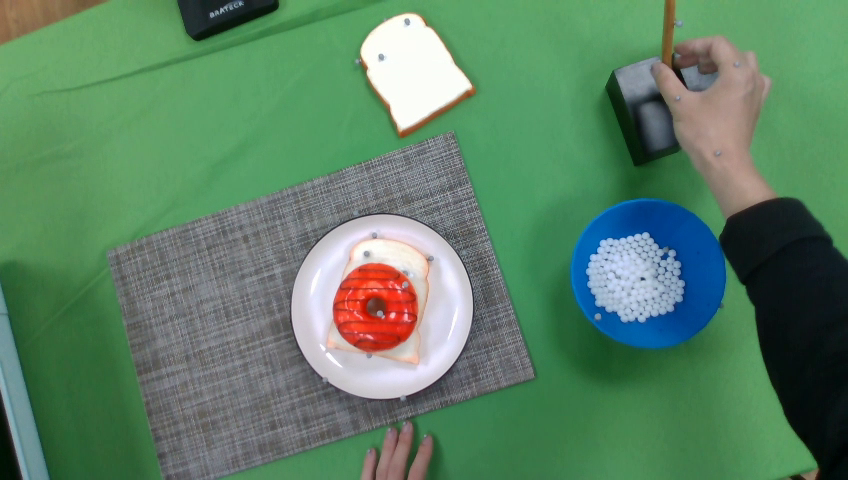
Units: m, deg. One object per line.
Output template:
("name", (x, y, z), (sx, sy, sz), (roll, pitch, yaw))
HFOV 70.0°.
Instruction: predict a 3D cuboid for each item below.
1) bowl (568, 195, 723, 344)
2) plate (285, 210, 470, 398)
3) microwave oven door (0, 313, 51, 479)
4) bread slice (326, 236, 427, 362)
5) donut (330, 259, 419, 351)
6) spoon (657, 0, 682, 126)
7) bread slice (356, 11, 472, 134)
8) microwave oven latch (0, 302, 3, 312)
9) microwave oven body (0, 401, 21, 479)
("bowl", (0.224, 0.033, 0.640), (0.151, 0.077, 0.151), (-1, 84, 6))
("plate", (-0.051, 0.071, 0.684), (0.207, 0.039, 0.207), (-1, 84, 6))
("microwave oven door", (-0.475, 0.245, 0.597), (0.039, 0.244, 0.354), (-21, 82, 4))
("bread slice", (-0.050, 0.064, 0.685), (0.107, 0.018, 0.134), (6, 85, 7))
("donut", (-0.054, 0.070, 0.656), (0.099, 0.048, 0.099), (-1, 85, 7))
("spoon", (0.242, -0.175, 0.604), (0.021, 0.196, 0.041), (-17, 62, 19))
("bread slice", (-0.021, -0.206, 0.722), (0.105, 0.019, 0.131), (-33, 83, 1))
("microwave oven latch", (-0.535, 0.052, 0.725), (0.030, 0.029, 0.079), (-20, 83, 3))
("microwave oven body", (-0.625, 0.257, 0.617), (0.326, 0.261, 0.440), (-20, 83, 3))
